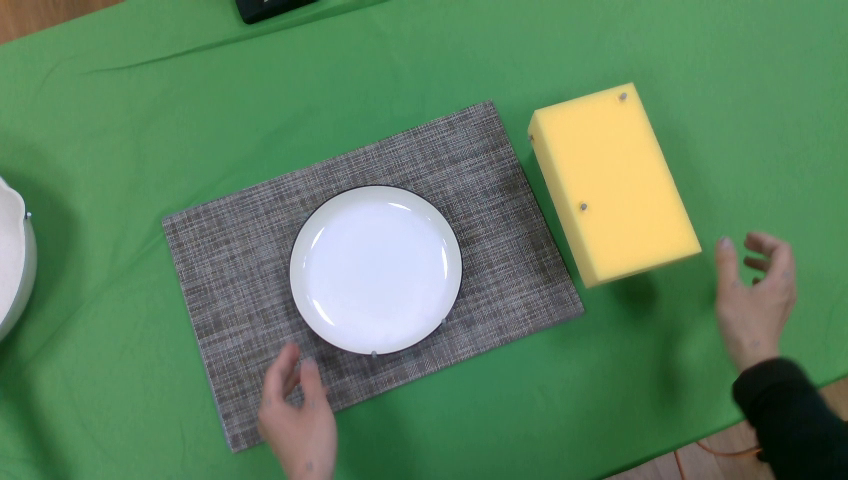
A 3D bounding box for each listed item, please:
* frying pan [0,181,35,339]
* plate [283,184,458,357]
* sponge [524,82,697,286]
[{"bbox_3d":[-0.555,0.119,0.688,0.307,0.103,0.484,-29,71,-4],"label":"frying pan"},{"bbox_3d":[-0.063,0.037,0.731,0.208,0.039,0.206,0,78,0],"label":"plate"},{"bbox_3d":[0.206,-0.063,0.691,0.118,0.061,0.206,-18,78,-3],"label":"sponge"}]
